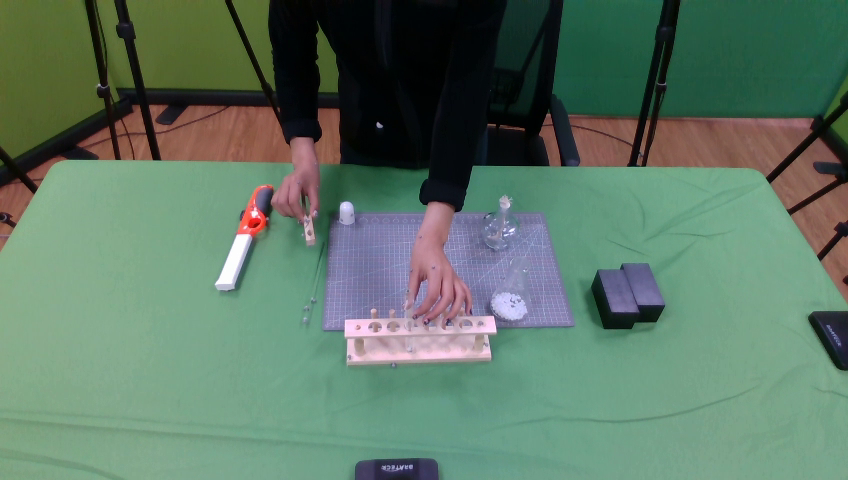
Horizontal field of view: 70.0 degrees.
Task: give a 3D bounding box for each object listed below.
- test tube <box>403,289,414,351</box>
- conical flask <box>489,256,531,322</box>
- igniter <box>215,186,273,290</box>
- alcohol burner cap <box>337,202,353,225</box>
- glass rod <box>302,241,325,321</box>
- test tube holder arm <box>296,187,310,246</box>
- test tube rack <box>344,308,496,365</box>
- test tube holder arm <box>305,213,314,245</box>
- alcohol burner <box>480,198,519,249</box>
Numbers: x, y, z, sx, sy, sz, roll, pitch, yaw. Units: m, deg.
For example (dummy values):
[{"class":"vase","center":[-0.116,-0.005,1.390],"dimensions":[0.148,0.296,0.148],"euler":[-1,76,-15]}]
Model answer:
[{"class":"test tube","center":[-0.024,0.130,0.953],"dimensions":[0.017,0.151,0.017],"euler":[1,46,0]},{"class":"conical flask","center":[0.158,0.081,1.060],"dimensions":[0.075,0.122,0.075],"euler":[2,46,-2]},{"class":"igniter","center":[-0.348,-0.013,1.181],"dimensions":[0.057,0.025,0.275],"euler":[-1,45,8]},{"class":"alcohol burner cap","center":[-0.159,-0.056,1.224],"dimensions":[0.034,0.048,0.033],"euler":[3,45,-2]},{"class":"glass rod","center":[-0.204,0.071,1.123],"dimensions":[0.008,0.008,0.198],"euler":[4,44,1]},{"class":"test tube holder arm","center":[-0.234,-0.049,1.172],"dimensions":[0.013,0.015,0.177],"euler":[-3,39,-19]},{"class":"test tube rack","center":[-0.009,0.154,1.006],"dimensions":[0.242,0.085,0.066],"euler":[-1,46,-5]},{"class":"test tube holder arm","center":[-0.217,-0.022,1.140],"dimensions":[0.010,0.015,0.087],"euler":[-2,39,-18]},{"class":"alcohol burner","center":[0.150,-0.038,1.182],"dimensions":[0.078,0.119,0.077],"euler":[3,47,-3]}]
